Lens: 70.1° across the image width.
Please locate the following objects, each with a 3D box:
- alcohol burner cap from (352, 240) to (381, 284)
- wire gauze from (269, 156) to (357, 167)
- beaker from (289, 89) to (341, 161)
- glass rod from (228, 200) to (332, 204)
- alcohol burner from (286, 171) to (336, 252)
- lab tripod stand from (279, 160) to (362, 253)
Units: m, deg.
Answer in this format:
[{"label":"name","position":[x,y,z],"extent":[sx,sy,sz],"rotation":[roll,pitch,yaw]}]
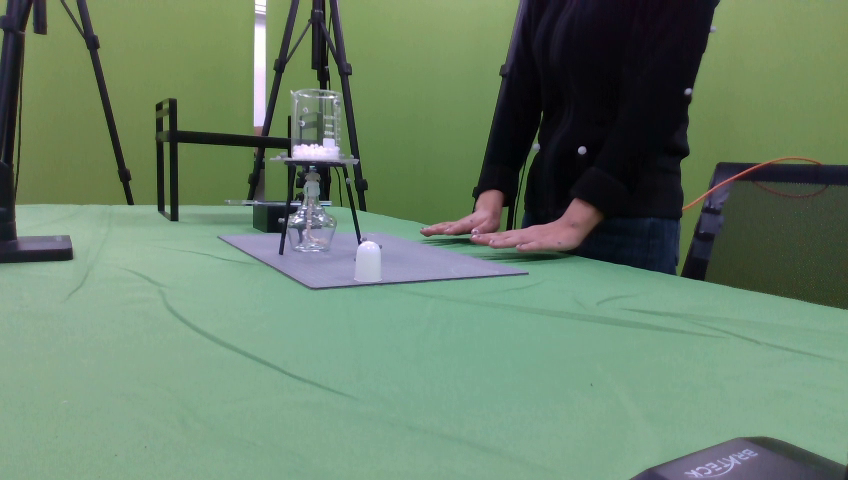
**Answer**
[{"label":"alcohol burner cap","position":[-0.065,0.023,0.690],"extent":[0.034,0.048,0.034],"rotation":[3,9,0]},{"label":"wire gauze","position":[-0.159,-0.116,0.886],"extent":[0.122,0.011,0.125],"rotation":[2,4,-9]},{"label":"beaker","position":[-0.161,-0.164,0.879],"extent":[0.073,0.100,0.084],"rotation":[6,8,34]},{"label":"glass rod","position":[-0.270,-0.071,1.149],"extent":[0.201,0.008,0.008],"rotation":[-1,8,-30]},{"label":"alcohol burner","position":[-0.170,-0.043,0.898],"extent":[0.078,0.119,0.078],"rotation":[2,5,0]},{"label":"lab tripod stand","position":[-0.166,-0.052,0.897],"extent":[0.148,0.131,0.148],"rotation":[0,7,0]}]
